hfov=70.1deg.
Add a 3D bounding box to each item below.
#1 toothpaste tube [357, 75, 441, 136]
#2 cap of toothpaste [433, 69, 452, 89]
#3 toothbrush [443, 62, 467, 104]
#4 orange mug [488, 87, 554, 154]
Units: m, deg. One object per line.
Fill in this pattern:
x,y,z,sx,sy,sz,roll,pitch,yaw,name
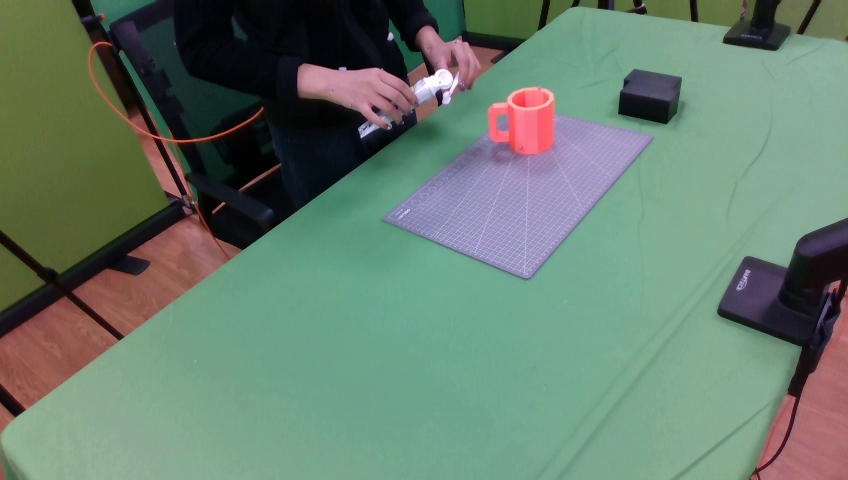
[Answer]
-0.043,-0.231,1.029,0.165,0.035,0.054,-31,26,4,toothpaste tube
0.032,-0.279,1.044,0.037,0.037,0.011,-24,2,-16,cap of toothpaste
0.058,-0.298,1.126,0.014,0.017,0.181,-4,34,20,toothbrush
0.185,-0.227,1.151,0.126,0.101,0.083,1,41,5,orange mug
